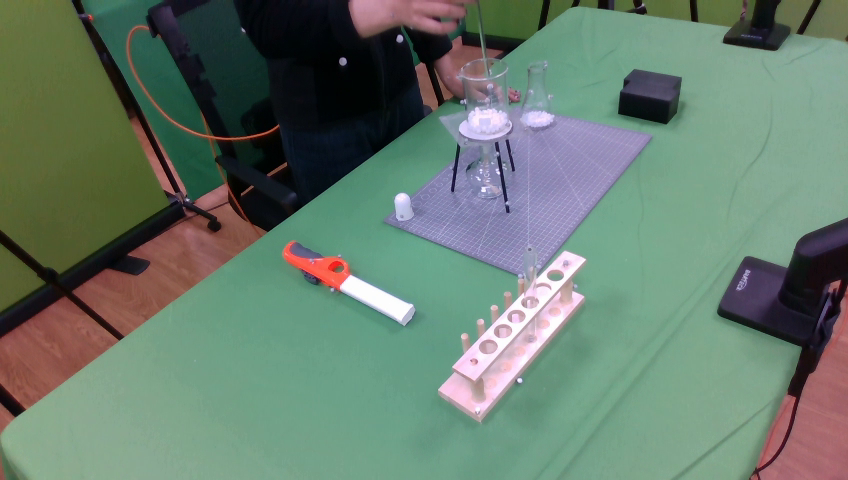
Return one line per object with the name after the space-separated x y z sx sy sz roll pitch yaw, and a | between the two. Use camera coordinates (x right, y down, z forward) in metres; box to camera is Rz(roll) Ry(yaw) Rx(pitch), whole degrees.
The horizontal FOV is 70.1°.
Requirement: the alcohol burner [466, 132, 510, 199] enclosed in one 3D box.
0.110 -0.132 1.044 0.078 0.119 0.077 -6 38 5 | alcohol burner

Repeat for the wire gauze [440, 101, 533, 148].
0.100 -0.189 0.995 0.125 0.011 0.120 -16 37 -6 | wire gauze

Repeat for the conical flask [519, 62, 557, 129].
0.225 -0.288 1.199 0.075 0.122 0.075 -6 40 5 | conical flask

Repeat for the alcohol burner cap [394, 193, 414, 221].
-0.036 -0.059 1.040 0.034 0.048 0.033 -5 41 5 | alcohol burner cap

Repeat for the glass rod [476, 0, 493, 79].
0.082 -0.319 0.865 0.008 0.201 0.008 -9 42 9 | glass rod

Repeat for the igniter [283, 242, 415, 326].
-0.126 0.062 0.931 0.274 0.025 0.057 24 61 33 | igniter

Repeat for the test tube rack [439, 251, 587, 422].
0.118 0.111 0.780 0.066 0.085 0.243 25 51 35 | test tube rack

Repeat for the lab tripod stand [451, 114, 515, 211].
0.113 -0.140 1.037 0.148 0.132 0.147 -6 38 5 | lab tripod stand

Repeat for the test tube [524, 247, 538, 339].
0.133 0.070 0.749 0.017 0.151 0.017 -5 38 4 | test tube

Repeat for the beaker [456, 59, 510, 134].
0.097 -0.226 0.964 0.084 0.101 0.073 -7 39 3 | beaker
